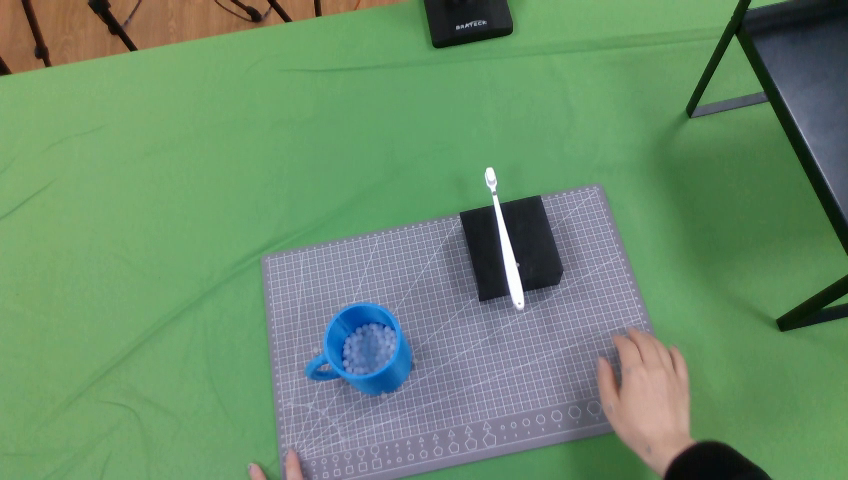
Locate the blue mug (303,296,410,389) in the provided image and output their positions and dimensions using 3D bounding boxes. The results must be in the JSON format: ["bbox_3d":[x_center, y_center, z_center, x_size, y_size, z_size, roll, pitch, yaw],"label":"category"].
[{"bbox_3d":[-0.077,0.122,0.671,0.116,0.106,0.081,-20,68,-3],"label":"blue mug"}]

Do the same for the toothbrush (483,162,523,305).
[{"bbox_3d":[0.092,-0.012,0.705,0.014,0.017,0.180,-7,68,-6],"label":"toothbrush"}]
